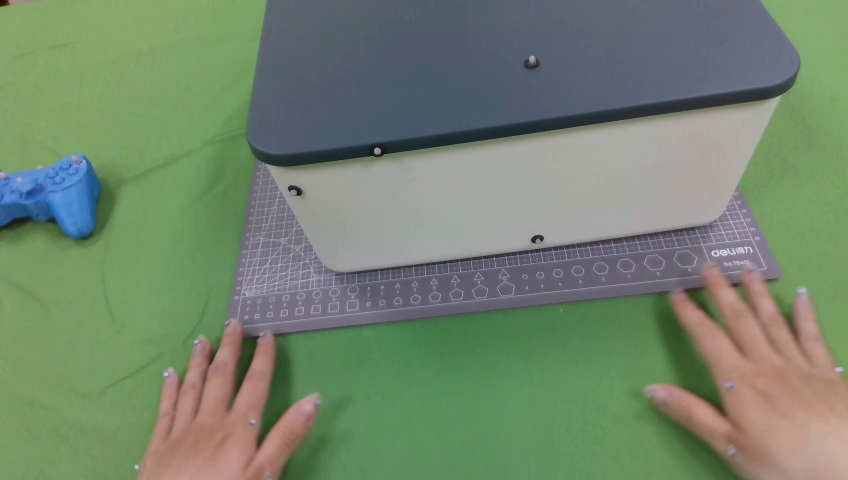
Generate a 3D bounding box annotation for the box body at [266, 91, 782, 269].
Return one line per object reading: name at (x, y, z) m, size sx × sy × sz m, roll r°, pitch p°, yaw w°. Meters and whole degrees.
box body at (0.065, -0.129, 0.521) m, size 0.364 × 0.162 × 0.251 m, roll -8°, pitch 52°, yaw 3°

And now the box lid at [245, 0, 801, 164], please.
box lid at (0.053, -0.174, 0.463) m, size 0.371 × 0.015 × 0.260 m, roll -7°, pitch 52°, yaw 3°

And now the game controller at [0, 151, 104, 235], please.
game controller at (-0.400, -0.044, 0.604) m, size 0.155 × 0.052 × 0.096 m, roll -7°, pitch 49°, yaw 3°
